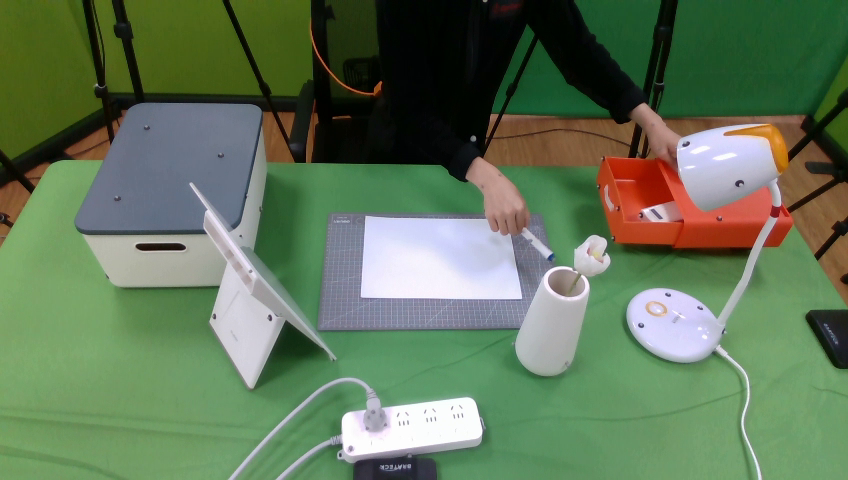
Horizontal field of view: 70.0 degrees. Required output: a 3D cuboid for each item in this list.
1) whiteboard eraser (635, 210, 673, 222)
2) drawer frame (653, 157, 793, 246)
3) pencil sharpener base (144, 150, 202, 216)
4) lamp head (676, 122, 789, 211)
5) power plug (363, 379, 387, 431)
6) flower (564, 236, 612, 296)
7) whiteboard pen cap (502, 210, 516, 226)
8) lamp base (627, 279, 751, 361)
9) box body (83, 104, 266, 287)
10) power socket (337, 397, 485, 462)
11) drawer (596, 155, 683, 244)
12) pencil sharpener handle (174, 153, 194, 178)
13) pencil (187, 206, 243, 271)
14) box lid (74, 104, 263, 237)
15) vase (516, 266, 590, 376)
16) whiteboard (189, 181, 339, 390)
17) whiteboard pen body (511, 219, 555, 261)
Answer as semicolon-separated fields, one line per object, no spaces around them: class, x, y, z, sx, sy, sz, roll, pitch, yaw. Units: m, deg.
whiteboard eraser;0.473;-0.023;1.205;0.113;0.042;0.055;13;28;-33
drawer frame;0.578;-0.080;1.215;0.214;0.083;0.200;0;45;-2
pencil sharpener base;-0.493;-0.113;1.199;0.061;0.107;0.076;15;46;12
lamp head;0.423;-0.104;0.819;0.122;0.113;0.112;-13;33;40
power plug;-0.072;0.252;0.910;0.035;0.053;0.072;3;44;-1
flower;0.206;0.088;0.892;0.038;0.363;0.044;-17;67;-10
whiteboard pen cap;0.171;-0.043;1.202;0.018;0.018;0.033;-23;52;-24
lamp base;0.460;0.100;1.027;0.178;0.181;0.160;27;51;17
box body;-0.447;-0.088;1.150;0.254;0.161;0.361;-1;46;-5
power socket;-0.018;0.285;0.915;0.227;0.033;0.071;-5;46;-8
drawer;0.468;-0.081;1.211;0.212;0.073;0.193;3;45;-2
pencil sharpener handle;-0.479;-0.156;1.225;0.036;0.068;0.030;24;47;2
pencil;-0.401;-0.009;1.176;0.012;0.012;0.193;15;44;10
box lid;-0.443;-0.139;1.095;0.263;0.015;0.369;-1;45;-5
vase;0.208;0.132;0.964;0.098;0.201;0.097;3;46;-3
whiteboard;-0.292;0.096;0.929;0.144;0.307;0.216;-37;57;-10
whiteboard pen body;0.202;-0.008;1.166;0.017;0.017;0.140;-23;51;-24
